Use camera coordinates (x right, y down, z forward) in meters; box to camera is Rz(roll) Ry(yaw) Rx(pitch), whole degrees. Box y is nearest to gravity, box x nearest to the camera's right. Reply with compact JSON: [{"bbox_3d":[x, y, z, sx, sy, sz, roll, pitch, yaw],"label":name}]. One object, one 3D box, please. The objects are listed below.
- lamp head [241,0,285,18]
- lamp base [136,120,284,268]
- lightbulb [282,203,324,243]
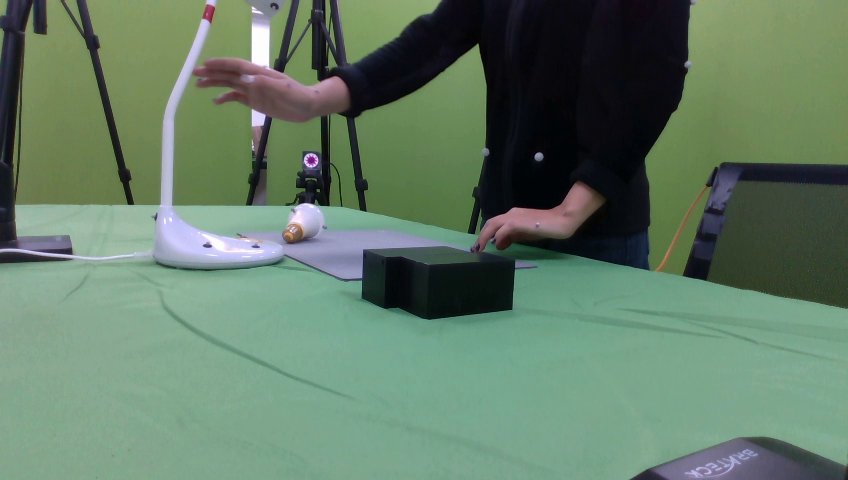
[{"bbox_3d":[-0.233,-0.366,0.790,0.123,0.112,0.112,15,-1,-33],"label":"lamp head"},{"bbox_3d":[-0.272,-0.061,0.769,0.180,0.180,0.160,-7,11,-37],"label":"lamp base"},{"bbox_3d":[-0.203,-0.023,0.993,0.059,0.059,0.108,3,23,12],"label":"lightbulb"}]
